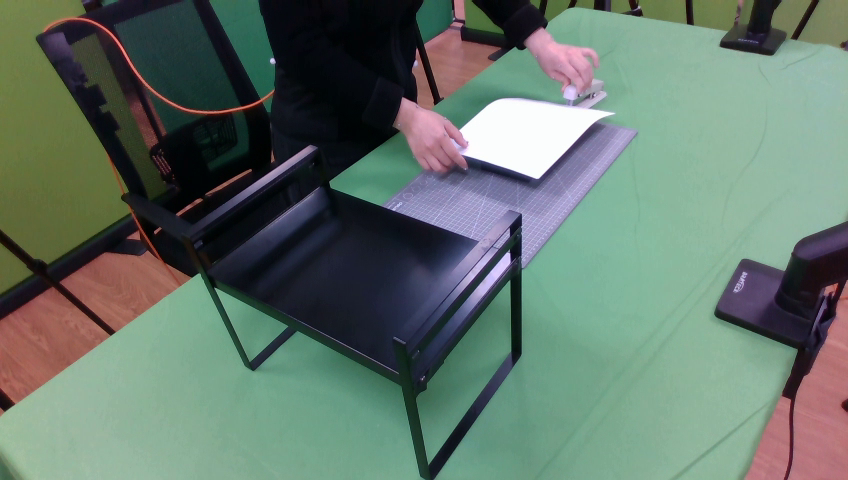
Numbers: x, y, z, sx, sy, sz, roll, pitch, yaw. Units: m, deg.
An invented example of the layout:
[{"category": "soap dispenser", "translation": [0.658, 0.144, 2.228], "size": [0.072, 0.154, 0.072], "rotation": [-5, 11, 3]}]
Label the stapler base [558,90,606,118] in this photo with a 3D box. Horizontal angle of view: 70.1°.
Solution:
[{"category": "stapler base", "translation": [0.332, -0.293, 1.265], "size": [0.041, 0.024, 0.131], "rotation": [32, 51, 33]}]

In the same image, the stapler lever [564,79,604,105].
[{"category": "stapler lever", "translation": [0.331, -0.315, 1.249], "size": [0.026, 0.040, 0.118], "rotation": [32, 49, 33]}]
